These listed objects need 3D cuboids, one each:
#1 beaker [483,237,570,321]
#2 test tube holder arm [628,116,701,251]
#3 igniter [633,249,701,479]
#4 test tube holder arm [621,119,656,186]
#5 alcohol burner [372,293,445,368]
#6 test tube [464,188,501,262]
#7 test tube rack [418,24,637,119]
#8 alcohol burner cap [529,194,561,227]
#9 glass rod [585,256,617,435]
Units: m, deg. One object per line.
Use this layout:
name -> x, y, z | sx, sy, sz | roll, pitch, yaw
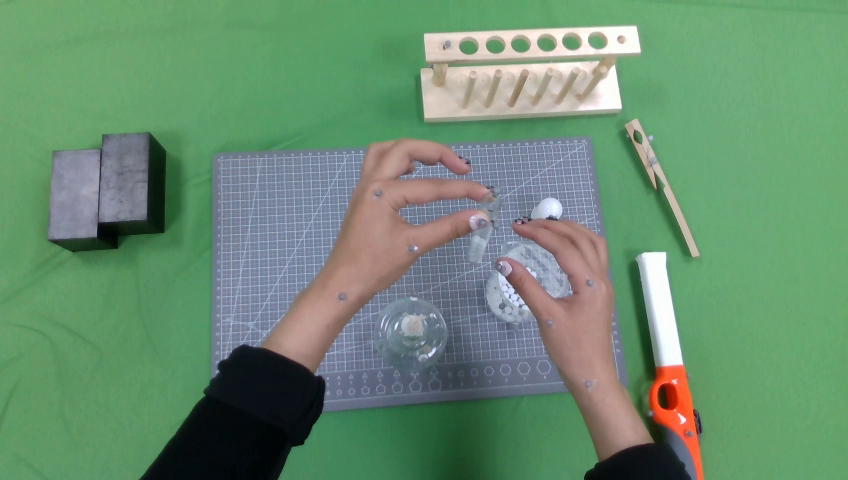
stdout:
beaker -> 0.101, 0.043, 0.642 | 0.074, 0.100, 0.083 | -36, 80, -12
test tube holder arm -> 0.286, -0.068, 0.724 | 0.013, 0.015, 0.177 | -29, 78, 25
igniter -> 0.267, 0.145, 0.669 | 0.057, 0.025, 0.275 | 0, 76, -14
test tube holder arm -> 0.264, -0.106, 0.735 | 0.010, 0.015, 0.087 | -29, 78, 25
alcohol burner -> -0.015, 0.089, 0.616 | 0.078, 0.119, 0.077 | 1, 74, -2
test tube -> 0.047, -0.008, 0.510 | 0.017, 0.151, 0.017 | 0, 72, -1
test tube rack -> 0.118, -0.196, 0.711 | 0.243, 0.085, 0.066 | -4, 76, -5
alcohol burner cap -> 0.140, -0.036, 0.693 | 0.034, 0.048, 0.033 | 1, 77, -3
glass rod -> 0.197, 0.115, 0.678 | 0.008, 0.008, 0.198 | -4, 77, -5
